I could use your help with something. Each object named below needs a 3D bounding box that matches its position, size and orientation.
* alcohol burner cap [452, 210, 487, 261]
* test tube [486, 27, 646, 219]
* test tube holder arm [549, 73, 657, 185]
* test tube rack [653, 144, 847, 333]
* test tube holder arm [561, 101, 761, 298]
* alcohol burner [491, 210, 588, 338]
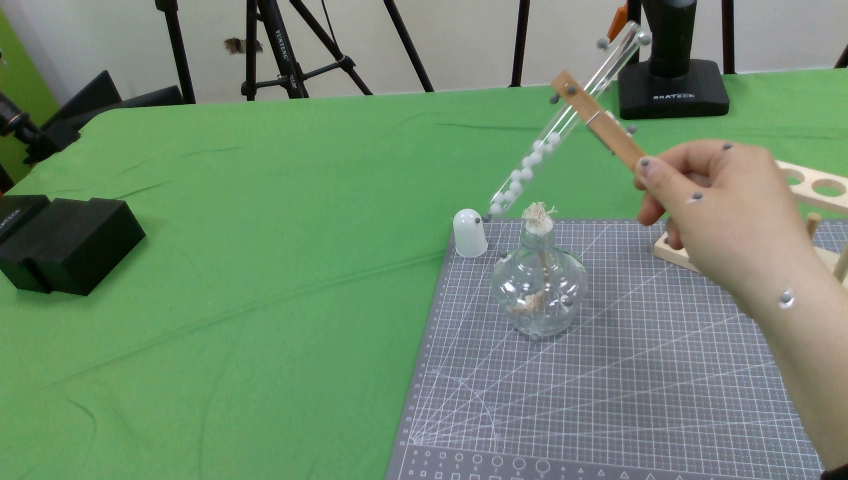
[{"bbox_3d":[0.043,-0.007,0.579,0.034,0.048,0.033,-6,42,6],"label":"alcohol burner cap"},{"bbox_3d":[0.090,-0.073,0.401,0.150,0.017,0.017,-52,38,19],"label":"test tube"},{"bbox_3d":[0.114,-0.071,0.387,0.087,0.015,0.010,49,20,7],"label":"test tube holder arm"},{"bbox_3d":[0.307,0.008,0.462,0.240,0.086,0.066,26,53,36],"label":"test tube rack"},{"bbox_3d":[0.143,-0.037,0.382,0.015,0.013,0.177,-44,75,20],"label":"test tube holder arm"},{"bbox_3d":[0.090,0.022,0.478,0.078,0.120,0.077,-6,42,6],"label":"alcohol burner"}]
